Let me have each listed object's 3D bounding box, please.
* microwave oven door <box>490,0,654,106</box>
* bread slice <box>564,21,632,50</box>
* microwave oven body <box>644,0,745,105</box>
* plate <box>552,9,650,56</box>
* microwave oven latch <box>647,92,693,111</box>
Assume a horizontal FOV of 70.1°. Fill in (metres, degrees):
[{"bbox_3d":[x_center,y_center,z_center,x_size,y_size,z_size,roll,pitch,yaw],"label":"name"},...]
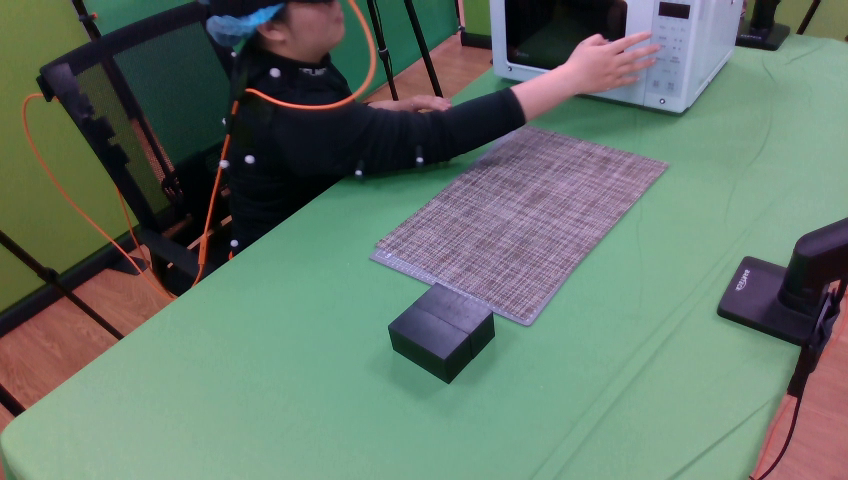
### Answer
[{"bbox_3d":[0.292,-0.420,1.228,0.353,0.245,0.039,22,49,32],"label":"microwave oven door"},{"bbox_3d":[0.394,-0.454,1.344,0.105,0.019,0.130,-35,43,-26],"label":"bread slice"},{"bbox_3d":[0.416,-0.486,1.290,0.438,0.261,0.327,21,50,33],"label":"microwave oven body"},{"bbox_3d":[0.390,-0.455,1.339,0.209,0.038,0.208,-6,39,5],"label":"plate"},{"bbox_3d":[0.477,-0.273,1.177,0.078,0.029,0.030,23,50,34],"label":"microwave oven latch"}]
